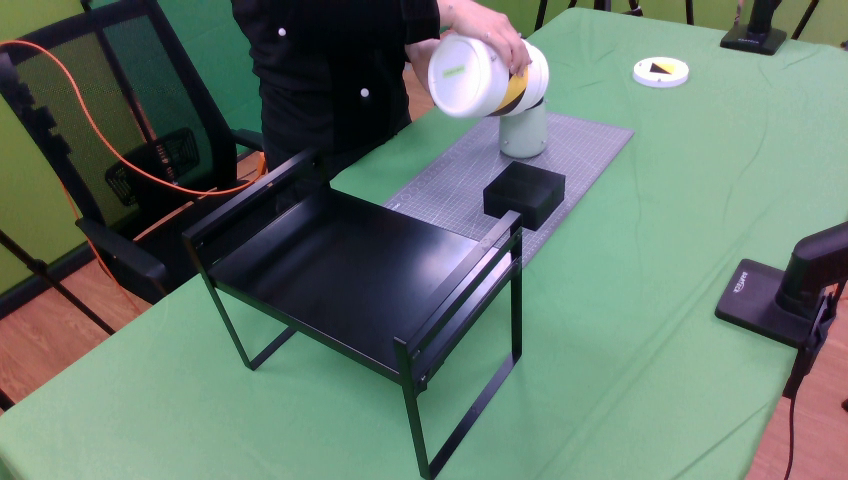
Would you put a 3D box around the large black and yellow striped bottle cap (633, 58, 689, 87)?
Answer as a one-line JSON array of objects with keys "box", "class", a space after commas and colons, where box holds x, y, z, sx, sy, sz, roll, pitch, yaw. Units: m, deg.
[{"box": [0.522, -0.370, 1.332, 0.115, 0.019, 0.114, -3, 41, 4], "class": "large black and yellow striped bottle cap"}]

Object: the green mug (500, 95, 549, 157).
[{"box": [0.196, -0.229, 1.145, 0.092, 0.105, 0.125, 15, 46, 25], "class": "green mug"}]

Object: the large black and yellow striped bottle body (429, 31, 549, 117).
[{"box": [0.113, -0.273, 1.006, 0.185, 0.131, 0.129, -14, 35, -44], "class": "large black and yellow striped bottle body"}]
